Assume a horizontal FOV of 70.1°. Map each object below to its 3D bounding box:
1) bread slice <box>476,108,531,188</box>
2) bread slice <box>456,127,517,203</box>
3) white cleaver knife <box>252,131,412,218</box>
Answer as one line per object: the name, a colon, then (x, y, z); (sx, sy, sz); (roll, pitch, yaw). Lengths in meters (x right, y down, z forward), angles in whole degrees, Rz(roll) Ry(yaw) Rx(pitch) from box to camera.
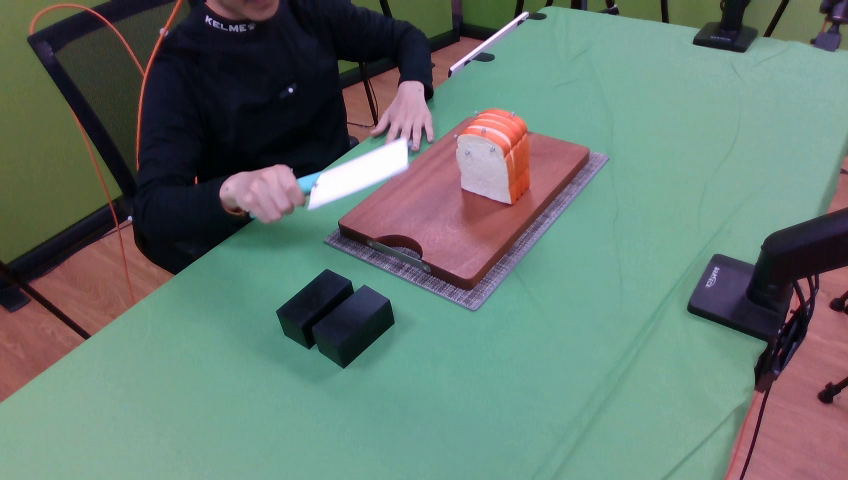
bread slice: (0.130, -0.152, 0.999); (0.106, 0.135, 0.018); (23, 49, 27)
bread slice: (0.097, -0.121, 0.969); (0.104, 0.132, 0.019); (20, 54, 30)
white cleaver knife: (-0.134, -0.078, 0.817); (0.285, 0.022, 0.065); (-20, 47, 30)
